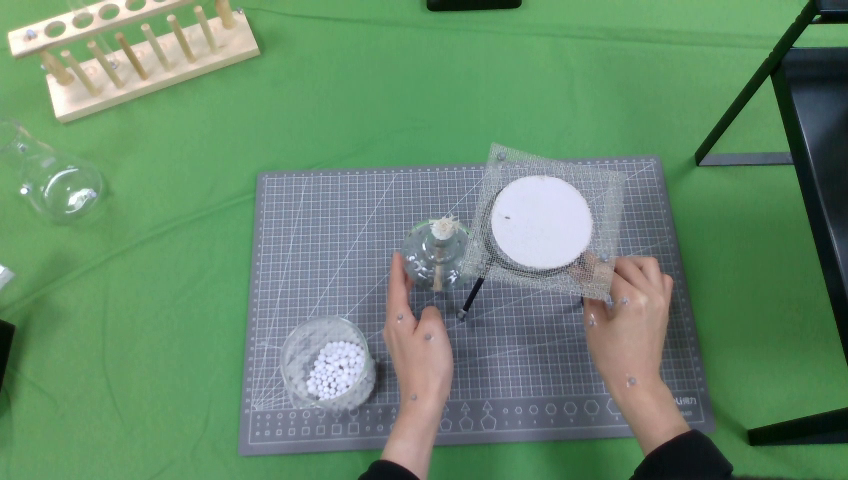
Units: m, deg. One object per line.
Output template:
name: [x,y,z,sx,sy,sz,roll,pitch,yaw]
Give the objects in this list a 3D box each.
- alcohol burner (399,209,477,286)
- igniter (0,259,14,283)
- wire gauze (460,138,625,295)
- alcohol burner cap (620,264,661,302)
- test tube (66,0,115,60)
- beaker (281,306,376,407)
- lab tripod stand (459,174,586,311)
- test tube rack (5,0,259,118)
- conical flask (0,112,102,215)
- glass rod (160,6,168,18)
alcohol burner: [0.014,0.001,0.583,0.078,0.120,0.077,0,67,-1]
igniter: [-0.475,0.128,0.536,0.057,0.025,0.275,25,70,20]
wire gauze: [0.102,-0.022,0.508,0.121,0.011,0.124,13,70,4]
alcohol burner cap: [0.218,0.040,0.605,0.034,0.048,0.033,0,69,1]
test tube: [-0.369,-0.249,0.646,0.017,0.151,0.017,0,62,0]
beaker: [-0.083,0.113,0.549,0.074,0.101,0.083,26,72,11]
lab tripod stand: [0.096,0.007,0.569,0.148,0.132,0.147,0,67,-1]
test tube rack: [-0.325,-0.229,0.692,0.242,0.086,0.066,-22,70,-8]
conical flask: [-0.393,-0.081,0.616,0.075,0.122,0.075,0,68,1]
glass rod: [-0.303,-0.288,0.643,0.008,0.201,0.008,-3,62,6]
